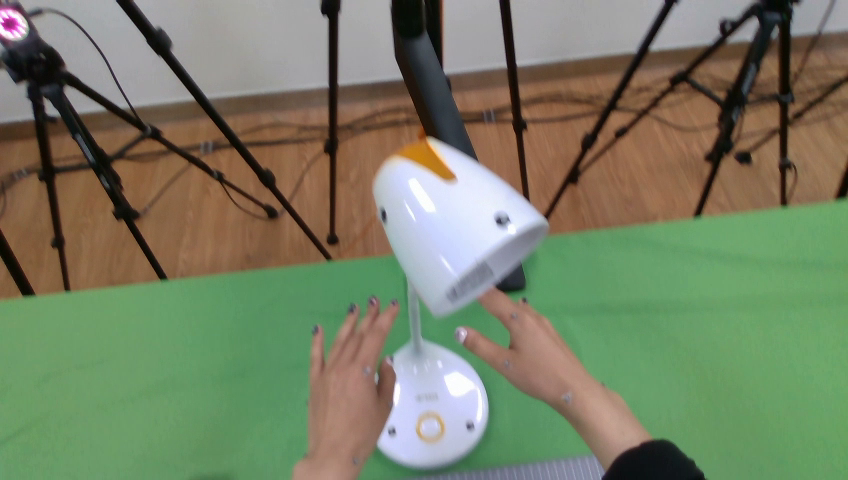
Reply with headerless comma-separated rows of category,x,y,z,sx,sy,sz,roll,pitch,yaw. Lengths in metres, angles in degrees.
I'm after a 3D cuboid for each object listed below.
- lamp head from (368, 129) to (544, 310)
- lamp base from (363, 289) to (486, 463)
lamp head,0.013,-0.022,0.469,0.112,0.113,0.122,-34,68,-21
lamp base,-0.007,0.154,0.734,0.161,0.182,0.177,-14,51,-7
